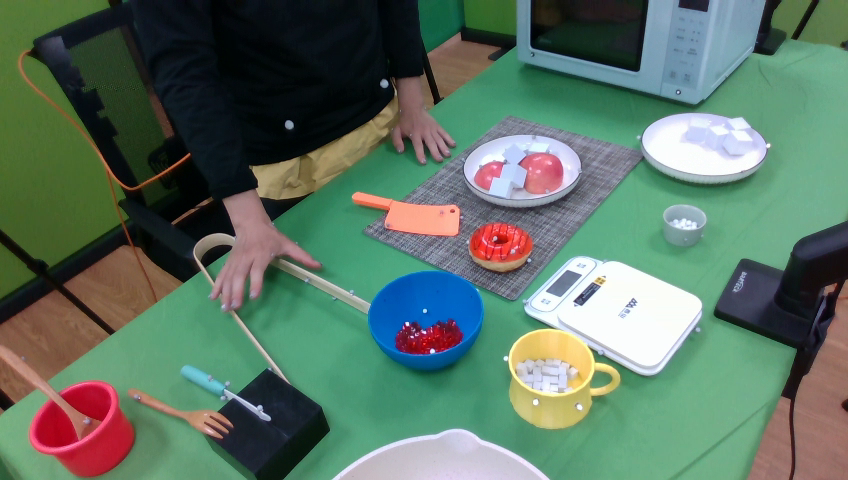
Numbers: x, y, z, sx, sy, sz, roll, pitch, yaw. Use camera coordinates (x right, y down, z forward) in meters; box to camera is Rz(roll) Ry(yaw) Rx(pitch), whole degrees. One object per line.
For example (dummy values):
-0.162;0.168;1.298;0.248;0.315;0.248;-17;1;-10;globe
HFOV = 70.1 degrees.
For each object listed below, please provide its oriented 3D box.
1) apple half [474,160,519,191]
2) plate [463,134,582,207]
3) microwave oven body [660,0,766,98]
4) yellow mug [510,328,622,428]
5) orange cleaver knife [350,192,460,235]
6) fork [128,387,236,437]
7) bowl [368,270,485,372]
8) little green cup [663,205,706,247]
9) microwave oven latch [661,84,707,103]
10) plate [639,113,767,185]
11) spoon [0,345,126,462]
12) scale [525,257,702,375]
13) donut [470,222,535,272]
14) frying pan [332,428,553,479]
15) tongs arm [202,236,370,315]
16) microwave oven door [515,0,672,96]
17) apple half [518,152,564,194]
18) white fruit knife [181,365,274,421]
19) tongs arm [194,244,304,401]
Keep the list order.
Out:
0.130;-0.120;1.068;0.081;0.033;0.081;-3;36;3;apple half
0.173;-0.119;1.070;0.209;0.038;0.208;-4;40;4;plate
0.472;-0.513;1.317;0.438;0.261;0.327;26;51;34;microwave oven body
0.169;0.164;0.722;0.130;0.064;0.099;0;40;8;yellow mug
-0.036;-0.045;1.028;0.210;0.012;0.077;10;49;17;orange cleaver knife
-0.305;0.207;0.744;0.206;0.019;0.028;3;41;36;fork
0.007;0.118;0.791;0.151;0.077;0.150;-4;40;4;bowl
0.396;-0.021;0.927;0.061;0.039;0.061;-4;40;4;little green cup
0.517;-0.296;1.204;0.078;0.029;0.030;27;52;35;microwave oven latch
0.489;-0.157;1.074;0.207;0.039;0.206;-4;40;4;plate
-0.434;0.192;0.720;0.194;0.021;0.042;47;53;-7;spoon
0.254;0.091;0.821;0.199;0.032;0.149;27;51;35;scale
0.119;0.009;0.923;0.099;0.048;0.098;-4;38;3;donut
-0.089;0.306;0.564;0.487;0.103;0.306;10;41;7;frying pan
-0.208;0.063;0.925;0.381;0.026;0.051;23;52;33;tongs arm
0.343;-0.454;1.259;0.353;0.245;0.039;26;51;33;microwave oven door
0.204;-0.124;1.048;0.075;0.053;0.080;-7;41;-3;apple half
-0.245;0.187;0.747;0.205;0.027;0.016;9;41;40;white fruit knife
-0.267;0.108;0.884;0.028;0.028;0.384;-35;45;-19;tongs arm
